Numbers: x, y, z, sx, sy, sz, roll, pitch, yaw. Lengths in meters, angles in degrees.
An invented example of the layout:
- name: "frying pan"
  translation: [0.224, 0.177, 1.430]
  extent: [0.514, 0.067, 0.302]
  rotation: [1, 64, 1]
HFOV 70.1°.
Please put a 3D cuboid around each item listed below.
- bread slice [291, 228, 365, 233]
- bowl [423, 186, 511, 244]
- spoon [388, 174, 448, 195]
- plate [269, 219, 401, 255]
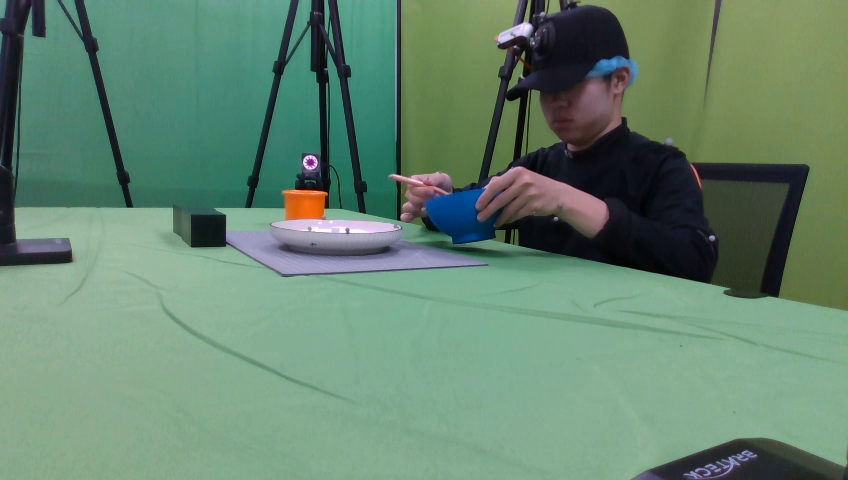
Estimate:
- name: "bread slice"
  translation: [-0.143, -0.003, 0.953]
  extent: [0.135, 0.018, 0.106]
  rotation: [-1, 8, -37]
- name: "bowl"
  translation: [0.078, -0.037, 1.018]
  extent: [0.151, 0.076, 0.151]
  rotation: [-9, -4, 0]
- name: "spoon"
  translation: [0.028, -0.080, 1.039]
  extent: [0.193, 0.021, 0.041]
  rotation: [24, 30, 7]
- name: "plate"
  translation: [-0.140, -0.006, 0.958]
  extent: [0.209, 0.038, 0.209]
  rotation: [3, 7, 0]
